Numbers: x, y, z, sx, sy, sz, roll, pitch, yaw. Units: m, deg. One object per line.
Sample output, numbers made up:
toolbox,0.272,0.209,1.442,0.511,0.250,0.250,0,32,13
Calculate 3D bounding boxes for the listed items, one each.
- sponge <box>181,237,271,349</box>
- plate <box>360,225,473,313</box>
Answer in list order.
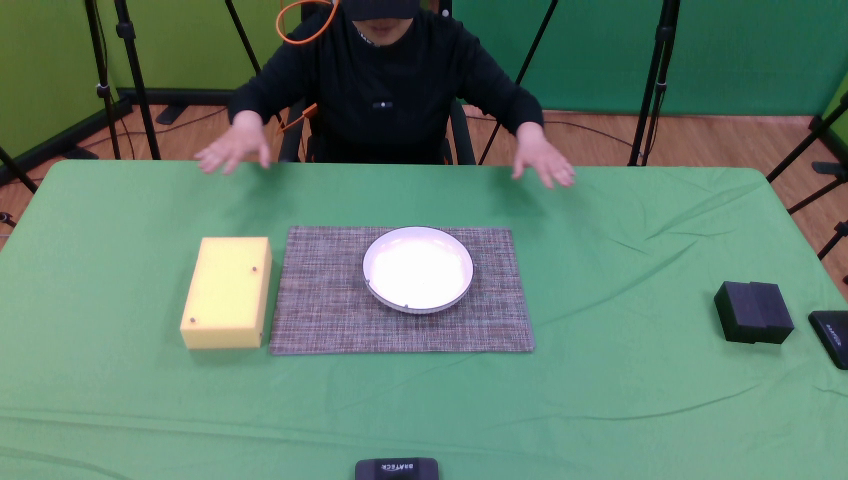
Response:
sponge,-0.341,0.088,1.062,0.118,0.061,0.205,-2,47,-6
plate,-0.014,0.057,1.126,0.208,0.039,0.206,2,46,-2
